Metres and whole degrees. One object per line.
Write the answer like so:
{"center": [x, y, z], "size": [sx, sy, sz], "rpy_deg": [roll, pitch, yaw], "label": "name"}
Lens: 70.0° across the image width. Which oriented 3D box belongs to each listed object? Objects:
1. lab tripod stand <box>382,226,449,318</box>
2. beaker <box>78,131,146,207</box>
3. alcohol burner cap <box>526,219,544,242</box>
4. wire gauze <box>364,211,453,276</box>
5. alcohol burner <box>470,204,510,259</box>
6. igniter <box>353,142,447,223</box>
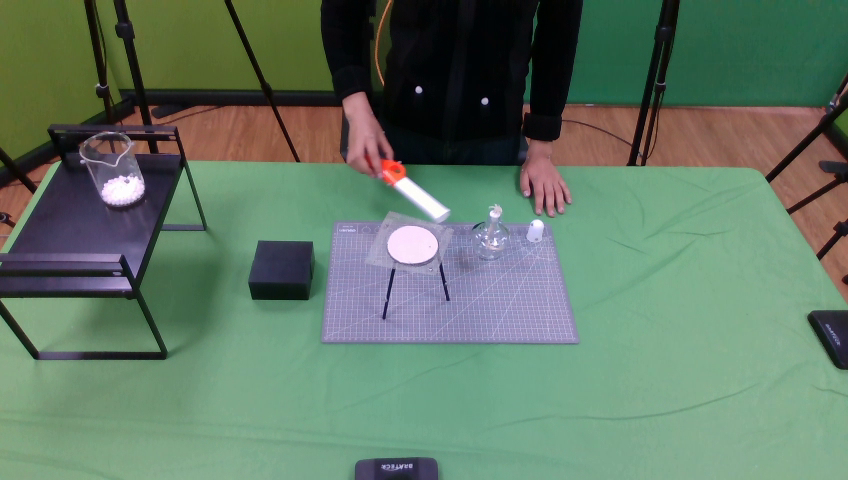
{"center": [-0.024, 0.055, 1.063], "size": [0.148, 0.132, 0.147], "rpy_deg": [2, 48, -2], "label": "lab tripod stand"}
{"center": [-0.488, -0.108, 0.961], "size": [0.074, 0.101, 0.083], "rpy_deg": [-25, 54, -25], "label": "beaker"}
{"center": [0.225, -0.021, 1.218], "size": [0.034, 0.048, 0.033], "rpy_deg": [1, 46, -1], "label": "alcohol burner cap"}
{"center": [-0.024, 0.006, 1.016], "size": [0.121, 0.011, 0.124], "rpy_deg": [14, 48, 9], "label": "wire gauze"}
{"center": [0.129, -0.021, 1.161], "size": [0.078, 0.119, 0.077], "rpy_deg": [2, 44, -2], "label": "alcohol burner"}
{"center": [-0.055, -0.120, 1.197], "size": [0.057, 0.025, 0.275], "rpy_deg": [-34, 56, -23], "label": "igniter"}
